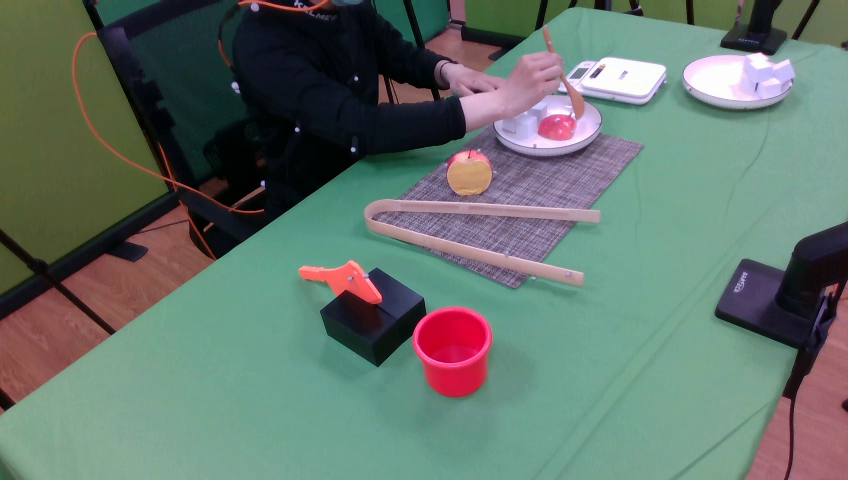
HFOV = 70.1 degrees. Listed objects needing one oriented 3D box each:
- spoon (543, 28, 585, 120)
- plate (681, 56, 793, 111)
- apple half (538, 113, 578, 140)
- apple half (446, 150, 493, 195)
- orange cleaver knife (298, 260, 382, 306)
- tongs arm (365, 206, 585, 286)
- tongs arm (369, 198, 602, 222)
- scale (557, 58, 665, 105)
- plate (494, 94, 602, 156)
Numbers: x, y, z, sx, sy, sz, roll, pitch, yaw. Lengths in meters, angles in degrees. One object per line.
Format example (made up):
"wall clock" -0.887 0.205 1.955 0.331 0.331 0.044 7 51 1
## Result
"spoon" 0.265 -0.313 1.149 0.021 0.195 0.041 -4 39 48
"plate" 0.636 -0.317 1.239 0.207 0.039 0.206 -4 40 4
"apple half" 0.261 -0.228 1.178 0.081 0.033 0.081 -2 42 2
"apple half" 0.080 -0.124 1.065 0.081 0.075 0.053 -7 36 7
"orange cleaver knife" -0.125 0.063 0.876 0.012 0.077 0.210 -38 19 -30
"tongs arm" 0.067 0.004 0.951 0.382 0.026 0.051 13 45 23
"tongs arm" 0.097 -0.048 1.009 0.386 0.028 0.028 3 46 13
"scale" 0.407 -0.348 1.314 0.199 0.032 0.149 19 47 28
"plate" 0.240 -0.220 1.181 0.209 0.038 0.208 -4 41 4
